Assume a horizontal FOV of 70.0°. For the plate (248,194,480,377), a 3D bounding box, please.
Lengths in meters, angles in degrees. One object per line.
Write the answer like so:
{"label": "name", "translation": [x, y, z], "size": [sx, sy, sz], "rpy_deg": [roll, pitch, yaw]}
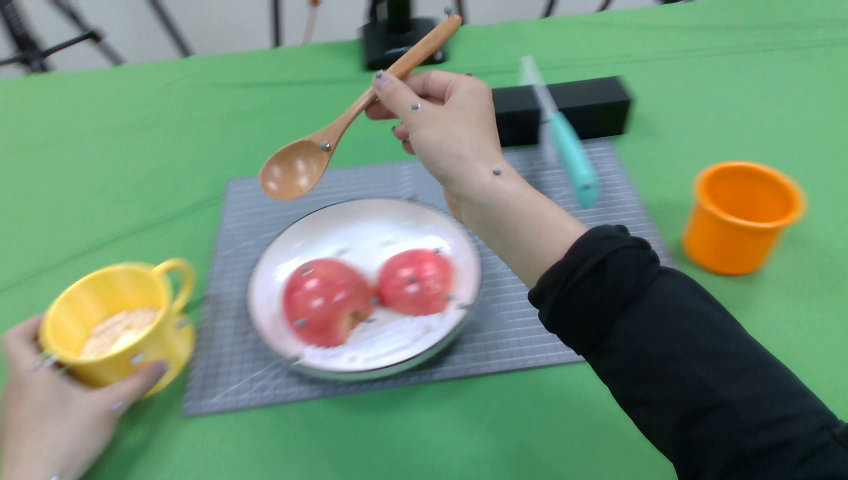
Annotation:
{"label": "plate", "translation": [-0.053, 0.039, 0.556], "size": [0.209, 0.038, 0.207], "rpy_deg": [-1, 46, 2]}

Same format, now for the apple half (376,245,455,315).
{"label": "apple half", "translation": [-0.009, 0.028, 0.554], "size": [0.081, 0.033, 0.080], "rpy_deg": [-1, 49, 1]}

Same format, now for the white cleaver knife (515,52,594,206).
{"label": "white cleaver knife", "translation": [0.140, -0.129, 0.687], "size": [0.021, 0.066, 0.283], "rpy_deg": [-10, 42, 1]}

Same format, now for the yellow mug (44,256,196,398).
{"label": "yellow mug", "translation": [-0.249, 0.064, 0.527], "size": [0.099, 0.064, 0.130], "rpy_deg": [19, 49, 19]}

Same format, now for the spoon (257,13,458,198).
{"label": "spoon", "translation": [-0.048, -0.101, 0.451], "size": [0.194, 0.022, 0.041], "rpy_deg": [-41, 77, 7]}

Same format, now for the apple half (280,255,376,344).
{"label": "apple half", "translation": [-0.087, 0.044, 0.531], "size": [0.074, 0.054, 0.080], "rpy_deg": [28, 54, 30]}
